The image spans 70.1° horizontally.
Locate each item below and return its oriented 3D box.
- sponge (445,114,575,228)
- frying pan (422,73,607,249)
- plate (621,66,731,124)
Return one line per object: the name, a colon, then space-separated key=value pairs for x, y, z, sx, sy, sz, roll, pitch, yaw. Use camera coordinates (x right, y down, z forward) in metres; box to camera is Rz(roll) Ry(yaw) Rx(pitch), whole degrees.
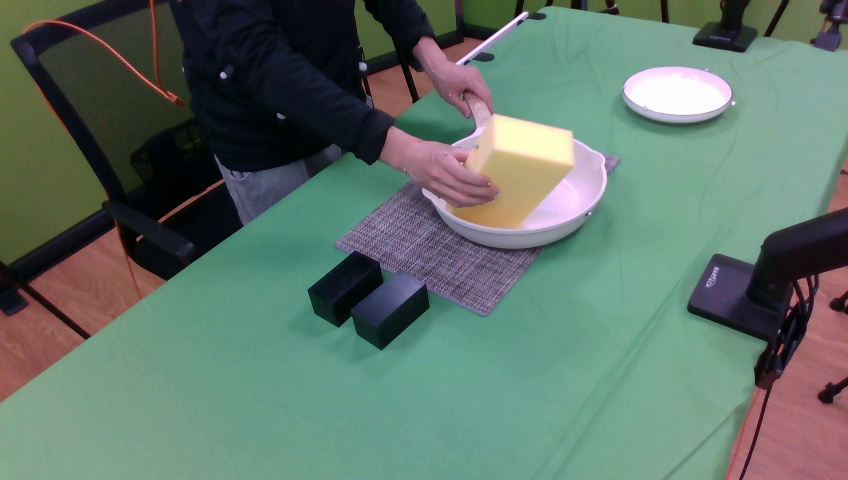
sponge: x=0.118 y=-0.089 z=0.891 sx=0.119 sy=0.206 sz=0.060 roll=10 pitch=62 yaw=-14
frying pan: x=0.130 y=-0.161 z=1.069 sx=0.307 sy=0.103 sz=0.484 roll=-10 pitch=49 yaw=-5
plate: x=0.503 y=-0.288 z=1.221 sx=0.207 sy=0.039 sz=0.206 roll=-4 pitch=41 yaw=4
